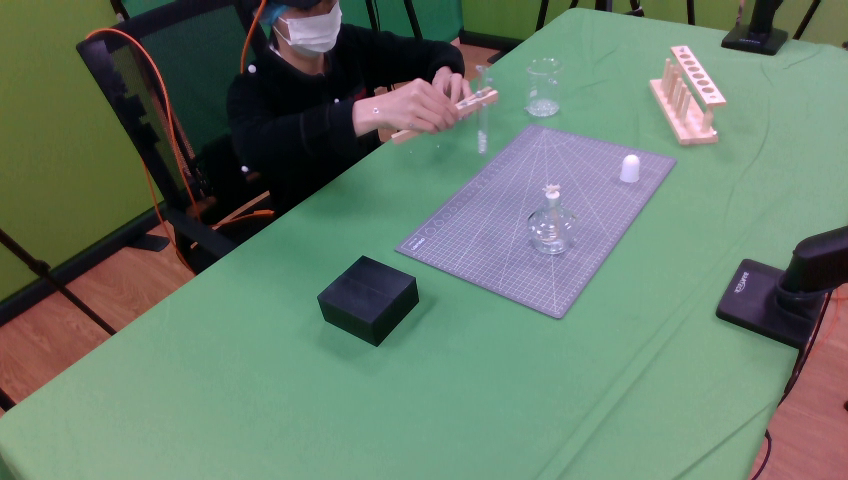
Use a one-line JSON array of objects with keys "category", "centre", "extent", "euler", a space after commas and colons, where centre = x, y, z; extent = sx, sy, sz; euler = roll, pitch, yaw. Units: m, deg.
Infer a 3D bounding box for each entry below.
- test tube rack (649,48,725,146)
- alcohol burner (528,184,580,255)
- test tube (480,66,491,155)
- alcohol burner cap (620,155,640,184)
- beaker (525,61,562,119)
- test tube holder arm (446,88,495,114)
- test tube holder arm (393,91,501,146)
[{"category": "test tube rack", "centre": [0.508, -0.285, 1.186], "extent": [0.067, 0.085, 0.241], "euler": [-4, 40, 6]}, {"category": "alcohol burner", "centre": [0.196, -0.036, 0.911], "extent": [0.078, 0.119, 0.077], "euler": [-6, 41, 5]}, {"category": "test tube", "centre": [0.094, -0.195, 0.929], "extent": [0.017, 0.151, 0.017], "euler": [-3, 42, 3]}, {"category": "alcohol burner cap", "centre": [0.358, -0.124, 1.047], "extent": [0.034, 0.048, 0.033], "euler": [-4, 40, 4]}, {"category": "beaker", "centre": [0.248, -0.308, 1.246], "extent": [0.073, 0.101, 0.084], "euler": [29, 52, 36]}, {"category": "test tube holder arm", "centre": [0.071, -0.204, 0.910], "extent": [0.088, 0.015, 0.010], "euler": [-32, 43, -19]}, {"category": "test tube holder arm", "centre": [0.036, -0.181, 0.894], "extent": [0.179, 0.015, 0.013], "euler": [-27, 41, -14]}]
